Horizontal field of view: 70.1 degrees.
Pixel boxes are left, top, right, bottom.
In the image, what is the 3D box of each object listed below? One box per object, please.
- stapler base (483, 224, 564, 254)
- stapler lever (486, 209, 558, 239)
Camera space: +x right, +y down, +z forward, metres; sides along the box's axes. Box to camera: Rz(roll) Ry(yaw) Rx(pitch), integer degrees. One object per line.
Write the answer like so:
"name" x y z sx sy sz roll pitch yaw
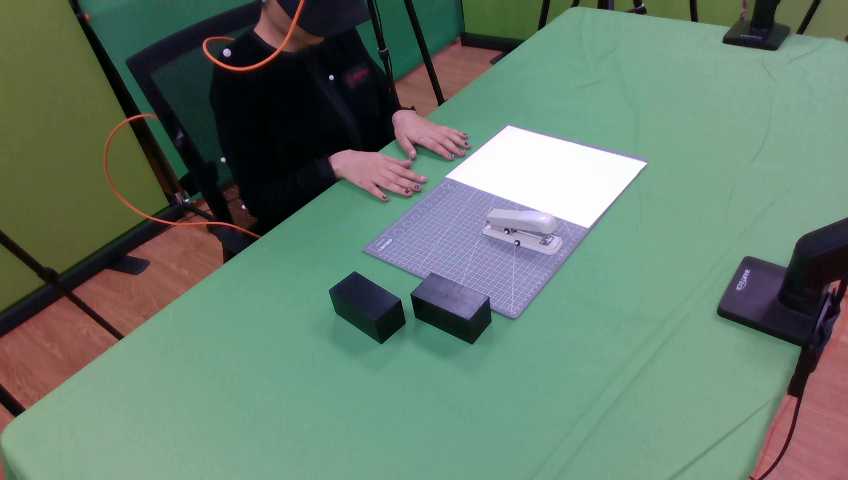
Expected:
"stapler base" 0.158 -0.012 0.963 0.129 0.024 0.041 17 45 31
"stapler lever" 0.153 -0.032 0.947 0.117 0.040 0.027 17 45 31
